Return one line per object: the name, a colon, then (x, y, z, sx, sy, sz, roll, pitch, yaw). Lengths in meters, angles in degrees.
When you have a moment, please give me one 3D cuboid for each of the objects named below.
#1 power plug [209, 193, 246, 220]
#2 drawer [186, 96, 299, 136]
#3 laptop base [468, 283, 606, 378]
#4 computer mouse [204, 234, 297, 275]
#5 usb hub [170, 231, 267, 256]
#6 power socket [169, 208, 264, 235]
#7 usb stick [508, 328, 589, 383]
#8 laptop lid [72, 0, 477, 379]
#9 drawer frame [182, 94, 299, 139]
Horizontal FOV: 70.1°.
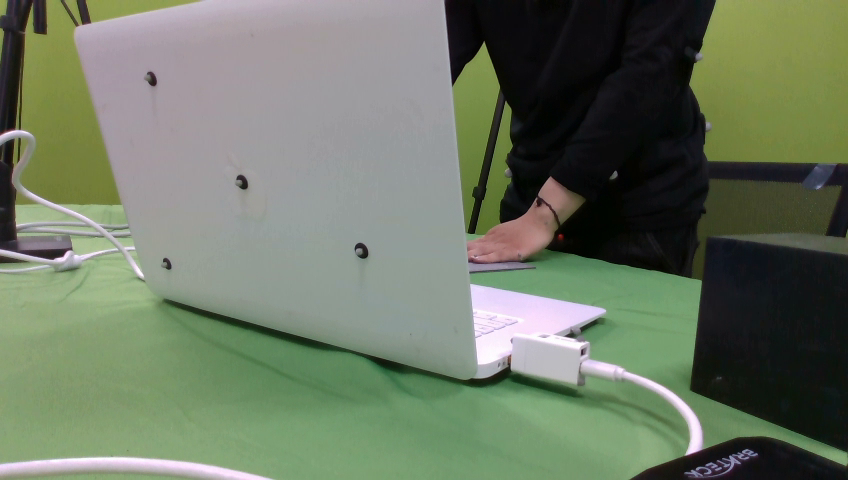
power plug: (-0.388, -0.067, 1.205, 0.072, 0.052, 0.035, 3, 8, 26)
drawer: (-0.415, -0.276, 1.371, 0.195, 0.073, 0.210, -4, 10, -35)
laptop base: (-0.042, 0.058, 0.554, 0.352, 0.023, 0.237, 7, 7, 35)
computer mouse: (-0.212, 0.016, 0.747, 0.062, 0.041, 0.117, 7, 12, 22)
usb hub: (-0.290, 0.004, 0.862, 0.049, 0.025, 0.126, 10, 11, 42)
power socket: (-0.381, -0.038, 1.128, 0.072, 0.032, 0.227, 4, 8, 16)
usb stick: (0.072, 0.072, 0.383, 0.059, 0.027, 0.021, 2, 2, 34)
laptop lid: (-0.125, -0.042, 0.418, 0.355, 0.241, 0.013, 9, 25, 34)
drawer frame: (-0.418, -0.276, 1.371, 0.203, 0.082, 0.212, -4, 9, -36)
